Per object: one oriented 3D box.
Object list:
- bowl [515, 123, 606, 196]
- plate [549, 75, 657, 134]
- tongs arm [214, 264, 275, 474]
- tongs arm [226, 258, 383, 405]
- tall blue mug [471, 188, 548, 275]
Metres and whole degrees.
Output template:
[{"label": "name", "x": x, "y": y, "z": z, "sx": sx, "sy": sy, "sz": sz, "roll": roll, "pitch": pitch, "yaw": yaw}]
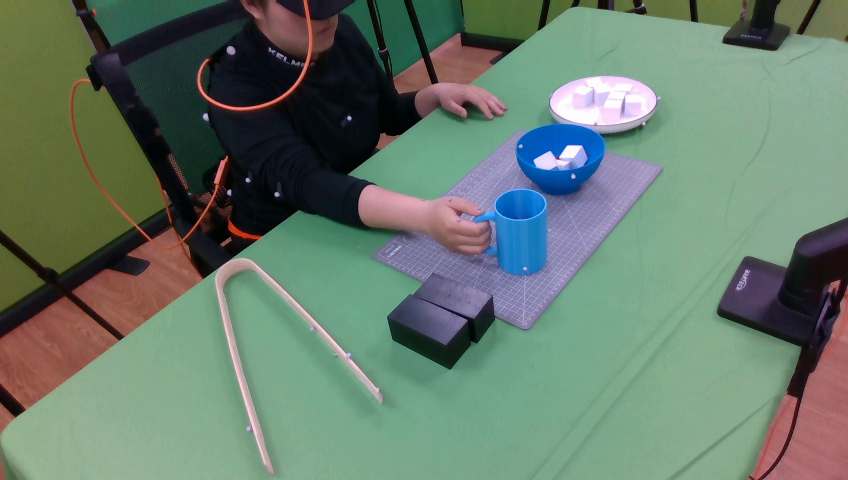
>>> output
[{"label": "bowl", "x": 0.235, "y": -0.131, "z": 1.045, "sx": 0.151, "sy": 0.077, "sz": 0.150, "roll": -5, "pitch": 40, "yaw": 5}, {"label": "plate", "x": 0.357, "y": -0.268, "z": 1.220, "sx": 0.209, "sy": 0.038, "sz": 0.208, "roll": -5, "pitch": 41, "yaw": 5}, {"label": "tongs arm", "x": -0.252, "y": 0.158, "z": 0.837, "sx": 0.028, "sy": 0.028, "sz": 0.384, "roll": -27, "pitch": 43, "yaw": -8}, {"label": "tongs arm", "x": -0.185, "y": 0.121, "z": 0.863, "sx": 0.051, "sy": 0.027, "sz": 0.381, "roll": -34, "pitch": 45, "yaw": -20}, {"label": "tall blue mug", "x": 0.131, "y": -0.007, "z": 0.894, "sx": 0.107, "sy": 0.108, "sz": 0.077, "roll": -20, "pitch": 42, "yaw": -11}]
